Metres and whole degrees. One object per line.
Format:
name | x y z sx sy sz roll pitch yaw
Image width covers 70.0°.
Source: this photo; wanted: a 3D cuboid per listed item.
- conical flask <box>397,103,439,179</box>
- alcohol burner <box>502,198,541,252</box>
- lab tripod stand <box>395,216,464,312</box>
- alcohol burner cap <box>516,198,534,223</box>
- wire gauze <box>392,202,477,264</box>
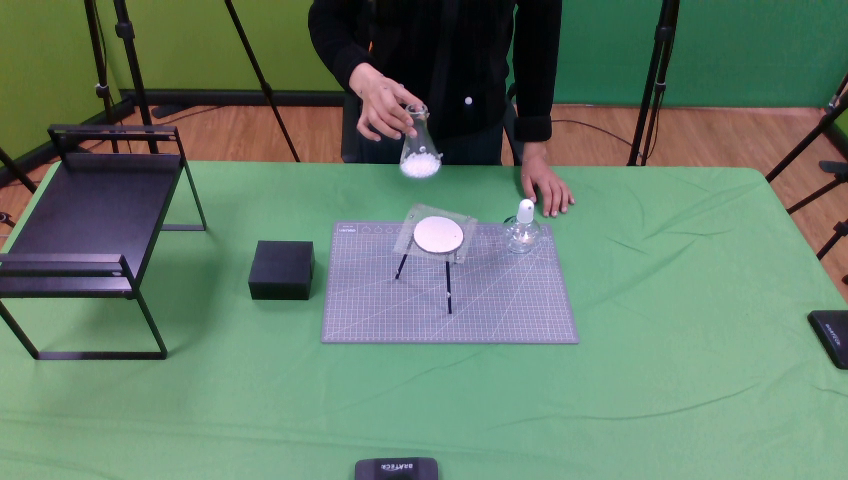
conical flask | -0.013 -0.171 1.035 0.075 0.122 0.075 -3 39 2
alcohol burner | 0.192 -0.034 1.177 0.078 0.119 0.077 3 45 -2
lab tripod stand | 0.023 0.037 1.084 0.148 0.132 0.147 4 46 -4
alcohol burner cap | 0.194 -0.059 1.152 0.034 0.048 0.033 0 50 0
wire gauze | 0.021 -0.012 1.037 0.121 0.011 0.124 14 47 8
